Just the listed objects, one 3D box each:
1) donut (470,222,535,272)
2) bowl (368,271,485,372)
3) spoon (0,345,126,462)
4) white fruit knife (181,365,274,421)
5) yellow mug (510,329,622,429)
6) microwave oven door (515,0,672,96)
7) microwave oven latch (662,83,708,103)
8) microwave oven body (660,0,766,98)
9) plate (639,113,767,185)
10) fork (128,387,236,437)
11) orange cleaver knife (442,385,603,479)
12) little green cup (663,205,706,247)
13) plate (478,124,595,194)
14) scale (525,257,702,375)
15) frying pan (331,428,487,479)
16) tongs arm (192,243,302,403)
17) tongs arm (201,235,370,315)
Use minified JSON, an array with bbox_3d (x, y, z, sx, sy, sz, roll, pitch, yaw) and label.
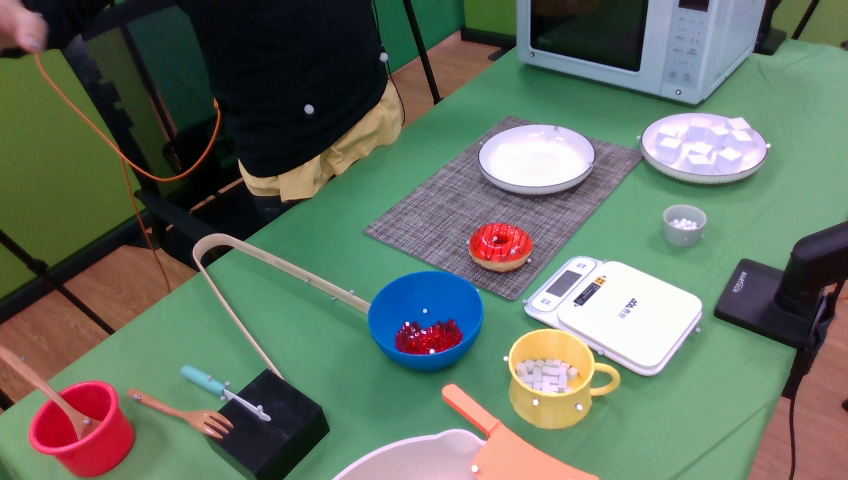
[{"bbox_3d":[0.119,0.009,0.923,0.099,0.048,0.098,-4,38,3],"label":"donut"},{"bbox_3d":[0.007,0.119,0.791,0.151,0.077,0.150,-5,39,4],"label":"bowl"},{"bbox_3d":[-0.434,0.192,0.720,0.194,0.021,0.042,47,54,-7],"label":"spoon"},{"bbox_3d":[-0.245,0.187,0.747,0.205,0.027,0.016,9,41,40],"label":"white fruit knife"},{"bbox_3d":[0.168,0.164,0.721,0.130,0.064,0.099,0,40,8],"label":"yellow mug"},{"bbox_3d":[0.343,-0.454,1.259,0.353,0.245,0.039,26,51,33],"label":"microwave oven door"},{"bbox_3d":[0.517,-0.296,1.204,0.078,0.029,0.030,27,52,35],"label":"microwave oven latch"},{"bbox_3d":[0.472,-0.513,1.317,0.438,0.261,0.327,26,51,34],"label":"microwave oven body"},{"bbox_3d":[0.489,-0.157,1.074,0.207,0.039,0.206,-4,40,4],"label":"plate"},{"bbox_3d":[-0.305,0.207,0.744,0.206,0.019,0.028,3,40,36],"label":"fork"},{"bbox_3d":[0.086,0.219,0.612,0.209,0.012,0.077,28,49,35],"label":"orange cleaver knife"},{"bbox_3d":[0.396,-0.020,0.926,0.061,0.039,0.061,-4,40,4],"label":"little green cup"},{"bbox_3d":[0.202,-0.142,1.093,0.209,0.038,0.208,-4,40,4],"label":"plate"},{"bbox_3d":[0.254,0.091,0.821,0.199,0.032,0.149,28,51,35],"label":"scale"},{"bbox_3d":[-0.089,0.306,0.564,0.487,0.103,0.306,10,41,7],"label":"frying pan"},{"bbox_3d":[-0.268,0.108,0.882,0.028,0.028,0.384,-35,46,-19],"label":"tongs arm"},{"bbox_3d":[-0.209,0.062,0.924,0.381,0.026,0.051,23,52,32],"label":"tongs arm"}]
